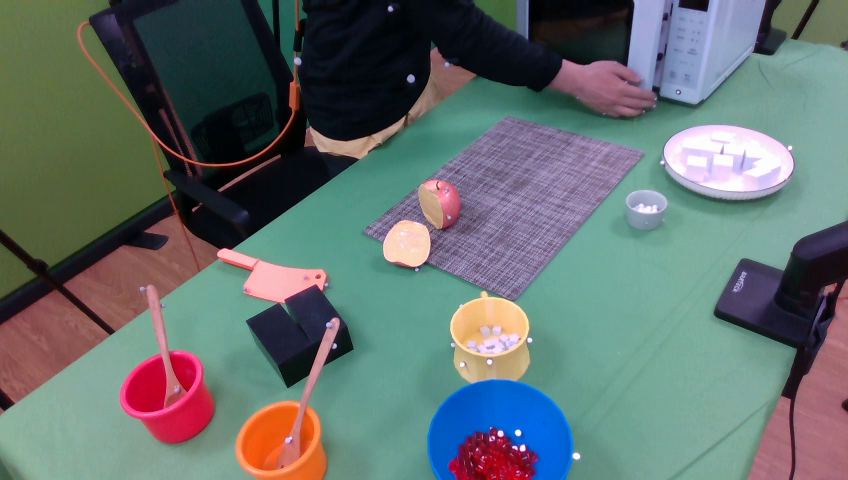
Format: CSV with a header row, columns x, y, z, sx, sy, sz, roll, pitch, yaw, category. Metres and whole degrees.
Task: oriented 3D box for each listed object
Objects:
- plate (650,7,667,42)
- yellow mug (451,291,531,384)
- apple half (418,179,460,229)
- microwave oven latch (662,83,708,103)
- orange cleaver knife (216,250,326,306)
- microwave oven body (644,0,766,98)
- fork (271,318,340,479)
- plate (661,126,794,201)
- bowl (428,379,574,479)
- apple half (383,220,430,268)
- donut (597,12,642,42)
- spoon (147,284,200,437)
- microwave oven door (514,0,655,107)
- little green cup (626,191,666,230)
x,y,z,sx,sy,sz,roll,pitch,yaw,category
0.438,-0.483,1.368,0.209,0.038,0.208,-4,43,4,plate
0.085,0.120,0.786,0.100,0.064,0.130,-7,39,1,yellow mug
0.032,-0.062,0.998,0.053,0.075,0.080,-23,39,-23,apple half
0.518,-0.297,1.204,0.078,0.029,0.030,28,52,35,microwave oven latch
-0.248,0.059,0.945,0.210,0.012,0.077,12,49,20,orange cleaver knife
0.472,-0.513,1.317,0.438,0.261,0.327,26,51,34,microwave oven body
-0.132,0.186,0.676,0.028,0.019,0.207,17,90,28,fork
0.513,-0.128,1.035,0.207,0.039,0.206,-4,40,4,plate
0.082,0.233,0.644,0.151,0.077,0.150,-4,39,4,bowl
-0.022,0.009,0.948,0.081,0.033,0.081,-4,73,13,apple half
0.436,-0.477,1.347,0.099,0.048,0.098,-11,32,8,donut
-0.318,0.148,0.754,0.042,0.021,0.193,-14,85,-9,spoon
0.323,-0.440,1.246,0.039,0.245,0.352,-32,46,-25,microwave oven door
0.352,-0.046,0.963,0.061,0.039,0.061,-4,40,4,little green cup
